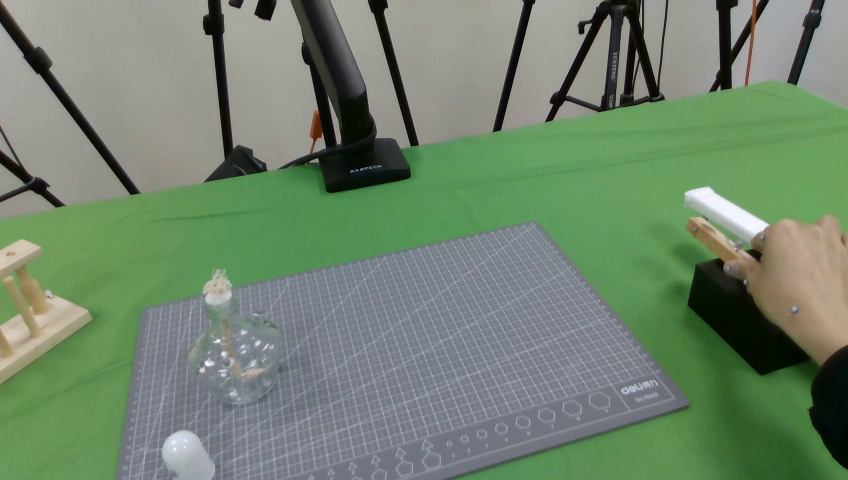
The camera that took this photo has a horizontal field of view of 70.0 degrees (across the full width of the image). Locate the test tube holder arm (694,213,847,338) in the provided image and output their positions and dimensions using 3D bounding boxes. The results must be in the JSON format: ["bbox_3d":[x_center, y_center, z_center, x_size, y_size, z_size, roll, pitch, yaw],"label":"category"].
[{"bbox_3d":[0.294,0.024,0.533,0.013,0.015,0.176,-13,35,-14],"label":"test tube holder arm"}]

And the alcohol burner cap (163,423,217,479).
[{"bbox_3d":[-0.179,0.159,0.456,0.034,0.048,0.033,-3,35,2],"label":"alcohol burner cap"}]

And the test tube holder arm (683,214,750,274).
[{"bbox_3d":[0.275,0.002,0.567,0.010,0.015,0.087,-12,35,-13],"label":"test tube holder arm"}]

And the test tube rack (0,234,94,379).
[{"bbox_3d":[-0.436,0.098,0.541,0.066,0.086,0.241,16,40,26],"label":"test tube rack"}]

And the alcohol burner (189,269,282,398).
[{"bbox_3d":[-0.163,0.075,0.512,0.078,0.120,0.077,-3,33,3],"label":"alcohol burner"}]

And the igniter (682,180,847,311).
[{"bbox_3d":[0.330,0.011,0.543,0.057,0.025,0.273,-14,32,-11],"label":"igniter"}]
